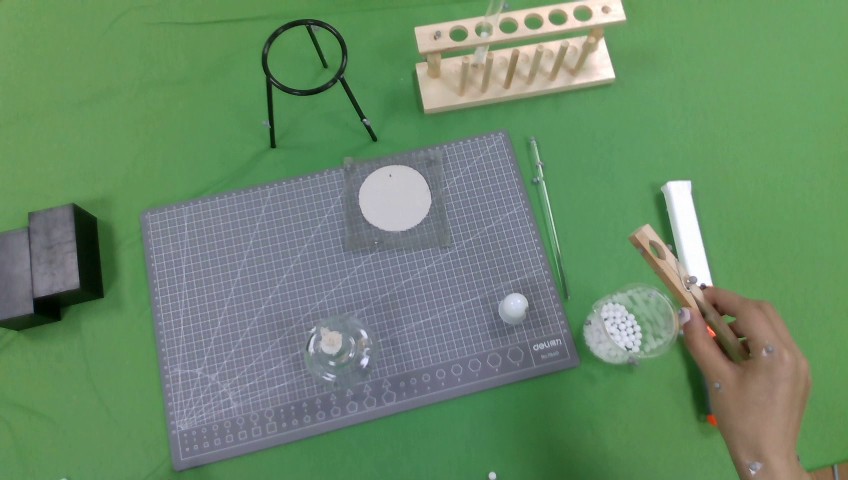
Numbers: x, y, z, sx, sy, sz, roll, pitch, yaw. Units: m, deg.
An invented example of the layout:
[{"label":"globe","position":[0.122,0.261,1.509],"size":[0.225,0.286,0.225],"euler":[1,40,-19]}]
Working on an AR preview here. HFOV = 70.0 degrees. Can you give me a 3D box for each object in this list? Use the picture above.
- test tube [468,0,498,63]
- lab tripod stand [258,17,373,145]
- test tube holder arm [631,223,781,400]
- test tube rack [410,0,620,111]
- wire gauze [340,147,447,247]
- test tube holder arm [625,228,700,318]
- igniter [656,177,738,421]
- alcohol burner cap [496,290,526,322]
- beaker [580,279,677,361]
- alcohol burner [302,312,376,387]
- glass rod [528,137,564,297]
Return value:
[{"label":"test tube","position":[0.068,-0.246,0.685],"size":[0.017,0.151,0.017],"euler":[1,74,-5]},{"label":"lab tripod stand","position":[-0.131,-0.173,0.692],"size":[0.148,0.132,0.147],"euler":[0,76,0]},{"label":"test tube holder arm","position":[0.228,0.058,0.490],"size":[0.013,0.015,0.178],"euler":[-40,90,-6]},{"label":"test tube rack","position":[0.109,-0.225,0.732],"size":[0.242,0.085,0.066],"euler":[-10,74,-3]},{"label":"wire gauze","position":[-0.038,-0.050,0.720],"size":[0.125,0.011,0.121],"euler":[-3,75,-2]},{"label":"test tube holder arm","position":[0.195,0.027,0.490],"size":[0.010,0.015,0.088],"euler":[-40,90,-6]},{"label":"igniter","position":[0.306,0.060,0.681],"size":[0.057,0.025,0.275],"euler":[-3,74,-11]},{"label":"alcohol burner cap","position":[0.098,0.070,0.668],"size":[0.034,0.048,0.033],"euler":[0,74,0]},{"label":"beaker","position":[0.206,0.087,0.636],"size":[0.084,0.101,0.073],"euler":[17,74,6]},{"label":"alcohol burner","position":[-0.090,0.109,0.619],"size":[0.078,0.120,0.077],"euler":[-1,73,2]},{"label":"glass rod","position":[0.144,-0.030,0.716],"size":[0.008,0.008,0.198],"euler":[-8,77,-3]}]
